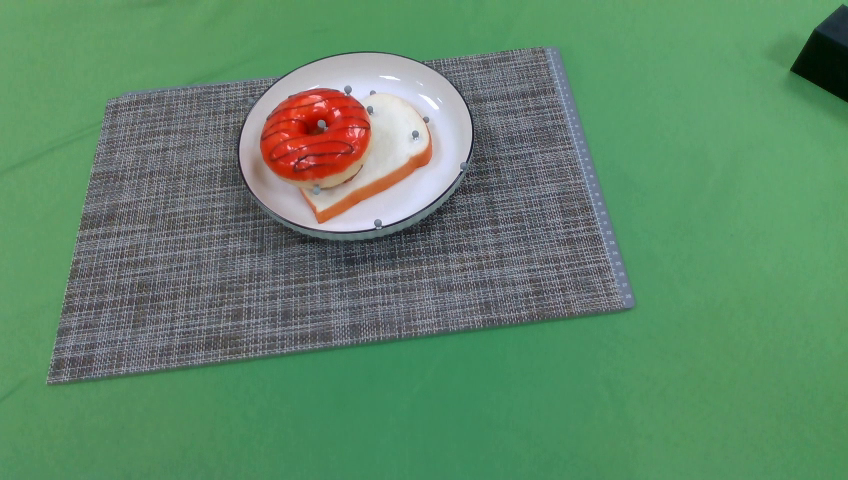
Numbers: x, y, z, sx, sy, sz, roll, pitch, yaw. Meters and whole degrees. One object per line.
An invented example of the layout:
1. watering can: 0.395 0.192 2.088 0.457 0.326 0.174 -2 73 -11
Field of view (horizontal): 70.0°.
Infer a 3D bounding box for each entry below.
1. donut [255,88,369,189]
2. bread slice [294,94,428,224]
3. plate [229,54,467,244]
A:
1. donut: -0.095 -0.088 0.517 0.099 0.048 0.098 -3 61 5
2. bread slice: -0.065 -0.084 0.548 0.131 0.019 0.104 -30 62 -13
3. plate: -0.066 -0.081 0.544 0.207 0.039 0.205 -1 59 2
